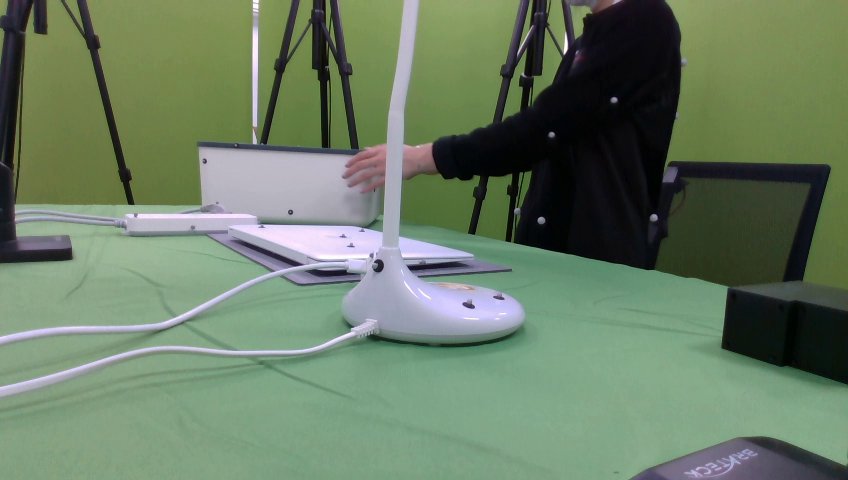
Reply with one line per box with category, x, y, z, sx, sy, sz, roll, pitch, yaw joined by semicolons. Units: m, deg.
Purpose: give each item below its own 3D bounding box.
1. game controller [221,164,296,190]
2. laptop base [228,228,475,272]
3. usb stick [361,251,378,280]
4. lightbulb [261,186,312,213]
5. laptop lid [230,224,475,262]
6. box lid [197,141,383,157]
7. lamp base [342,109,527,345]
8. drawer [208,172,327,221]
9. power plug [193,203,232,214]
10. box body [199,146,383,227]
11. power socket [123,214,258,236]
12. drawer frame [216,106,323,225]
game controller;-0.363;-0.139;1.317;0.156;0.051;0.096;-1;10;-24
laptop base;-0.122;0.011;0.889;0.237;0.023;0.352;2;6;-35
usb stick;-0.051;0.033;0.656;0.027;0.021;0.059;4;-27;-21
lightbulb;-0.294;-0.082;1.293;0.108;0.059;0.059;-14;13;-20
laptop lid;-0.119;0.000;0.889;0.243;0.013;0.355;1;7;-33
box lid;-0.275;-0.197;1.326;0.372;0.015;0.263;3;8;1
lamp base;0.006;-0.015;0.505;0.160;0.180;0.180;6;11;29
drawer;-0.334;-0.101;1.326;0.212;0.073;0.194;8;11;-1
power plug;-0.394;-0.042;1.139;0.072;0.052;0.035;-14;2;31
box body;-0.276;-0.124;1.334;0.364;0.160;0.254;3;7;1
power socket;-0.398;-0.028;1.049;0.228;0.032;0.072;-3;8;-34
drawer frame;-0.311;-0.142;1.311;0.082;0.213;0.202;21;-19;29
